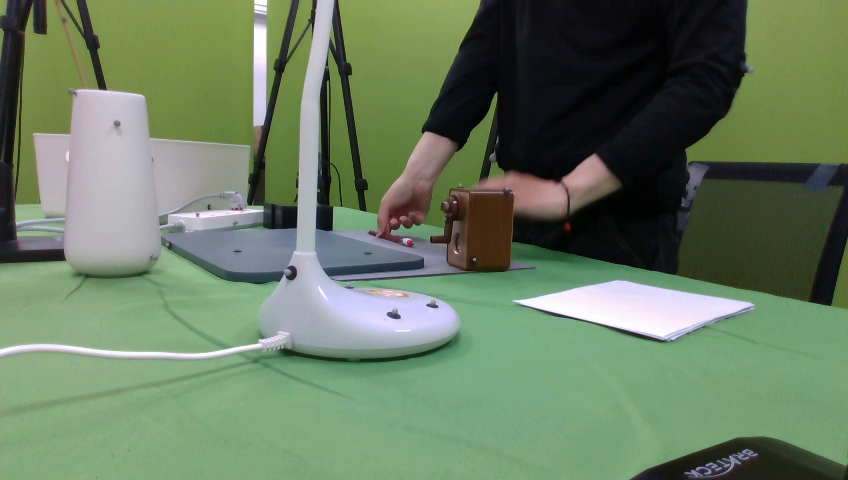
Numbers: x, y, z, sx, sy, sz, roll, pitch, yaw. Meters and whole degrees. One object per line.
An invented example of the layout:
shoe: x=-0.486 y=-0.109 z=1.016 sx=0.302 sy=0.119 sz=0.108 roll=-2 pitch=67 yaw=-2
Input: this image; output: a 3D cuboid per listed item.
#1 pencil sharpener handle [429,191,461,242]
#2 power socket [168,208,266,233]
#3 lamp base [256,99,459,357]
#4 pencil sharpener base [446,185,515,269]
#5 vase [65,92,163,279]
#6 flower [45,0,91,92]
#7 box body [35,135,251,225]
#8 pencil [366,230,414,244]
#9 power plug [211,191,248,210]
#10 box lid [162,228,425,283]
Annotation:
pencil sharpener handle: x=0.025 y=-0.030 z=0.780 sx=0.031 sy=0.067 sz=0.036 roll=-2 pitch=16 yaw=-25
power socket: x=-0.379 y=-0.038 z=1.129 sx=0.072 sy=0.032 sz=0.227 roll=4 pitch=8 yaw=18
lamp base: x=-0.055 y=-0.013 z=0.463 sx=0.160 sy=0.180 sz=0.180 roll=6 pitch=11 yaw=27
pencil sharpener base: x=0.072 y=-0.019 z=0.802 sx=0.077 sy=0.107 sz=0.061 roll=-2 pitch=9 yaw=-25
vase: x=-0.347 y=-0.060 z=0.673 sx=0.098 sy=0.200 sz=0.098 roll=1 pitch=7 yaw=0
flower: x=-0.361 y=-0.142 z=0.663 sx=0.044 sy=0.361 sz=0.038 roll=-12 pitch=11 yaw=30
box body: x=-0.559 y=-0.127 z=1.257 sx=0.253 sy=0.160 sz=0.365 roll=4 pitch=8 yaw=15
pencil: x=-0.064 y=-0.008 z=1.056 sx=0.012 sy=0.012 sz=0.193 roll=-2 pitch=7 yaw=-28
power plug: x=-0.384 y=-0.071 z=1.205 sx=0.072 sy=0.052 sz=0.035 roll=1 pitch=8 yaw=28
box lid: x=-0.200 y=0.014 z=0.861 sx=0.265 sy=0.015 sz=0.369 roll=-4 pitch=9 yaw=-35
